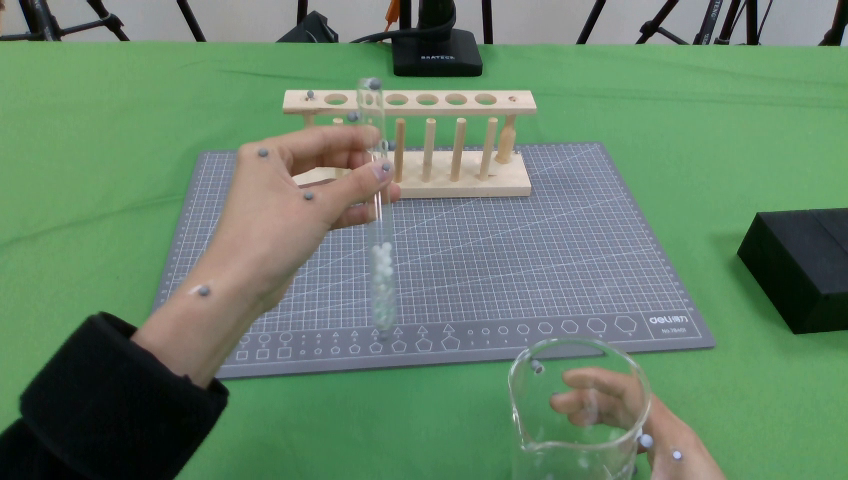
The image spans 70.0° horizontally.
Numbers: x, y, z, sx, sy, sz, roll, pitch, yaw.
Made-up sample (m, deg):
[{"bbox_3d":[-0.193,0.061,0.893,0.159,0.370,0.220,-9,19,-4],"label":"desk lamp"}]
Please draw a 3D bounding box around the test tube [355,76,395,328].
[{"bbox_3d":[-0.029,-0.020,0.362,0.017,0.150,0.017,-3,8,1],"label":"test tube"}]

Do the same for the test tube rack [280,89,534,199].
[{"bbox_3d":[-0.015,-0.096,0.604,0.243,0.086,0.066,-1,43,-5],"label":"test tube rack"}]

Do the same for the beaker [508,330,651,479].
[{"bbox_3d":[0.083,0.116,0.350,0.084,0.101,0.073,-34,46,-31],"label":"beaker"}]
